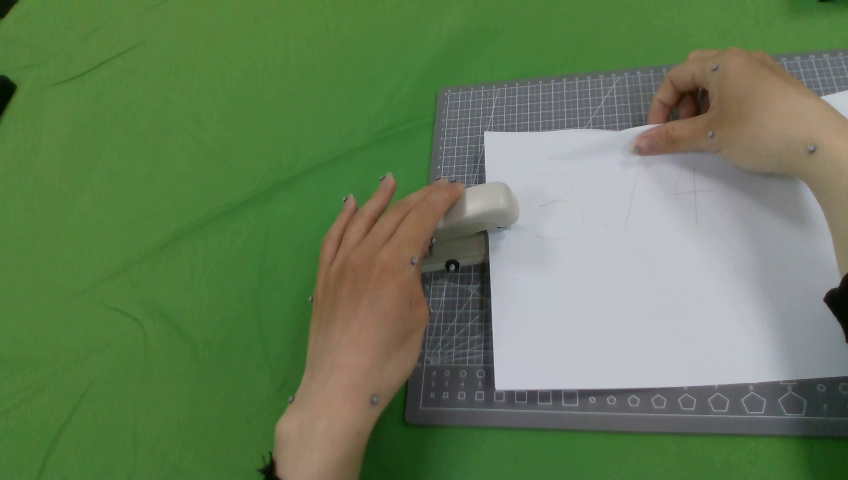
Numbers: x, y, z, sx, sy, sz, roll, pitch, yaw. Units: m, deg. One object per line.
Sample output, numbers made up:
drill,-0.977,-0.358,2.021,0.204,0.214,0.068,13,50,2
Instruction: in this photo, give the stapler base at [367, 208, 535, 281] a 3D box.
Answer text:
stapler base,0.016,-0.001,0.452,0.130,0.025,0.041,-11,57,10

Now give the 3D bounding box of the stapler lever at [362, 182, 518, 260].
stapler lever,0.008,-0.013,0.431,0.118,0.040,0.026,-11,57,10
